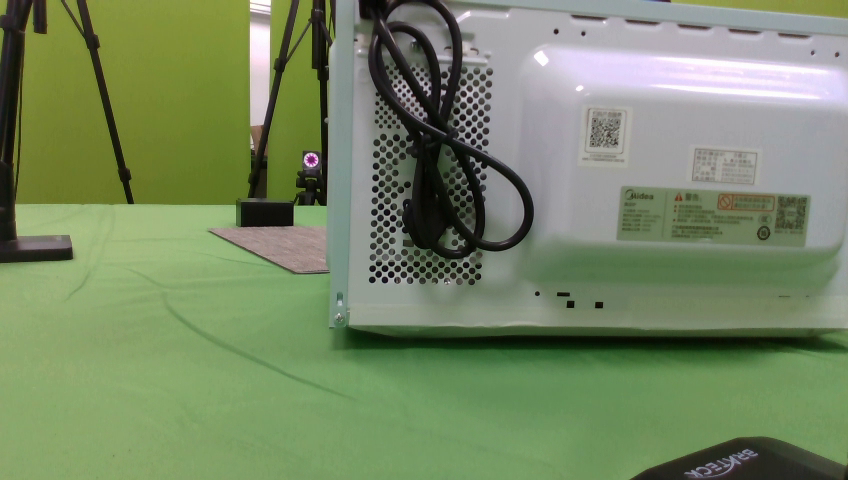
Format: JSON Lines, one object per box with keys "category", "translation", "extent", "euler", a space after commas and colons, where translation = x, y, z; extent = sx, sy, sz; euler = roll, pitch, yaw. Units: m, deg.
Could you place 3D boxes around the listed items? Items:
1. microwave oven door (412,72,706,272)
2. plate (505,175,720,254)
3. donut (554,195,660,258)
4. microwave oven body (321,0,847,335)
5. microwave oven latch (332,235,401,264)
{"category": "microwave oven door", "translation": [0.162, -0.093, 0.785], "extent": [0.355, 0.243, 0.039], "euler": [4, 8, 15]}
{"category": "plate", "translation": [0.184, -0.027, 0.615], "extent": [0.209, 0.038, 0.209], "euler": [5, 17, -1]}
{"category": "donut", "translation": [0.172, -0.014, 0.572], "extent": [0.099, 0.048, 0.099], "euler": [-14, 7, 2]}
{"category": "microwave oven body", "translation": [0.133, -0.062, 0.568], "extent": [0.443, 0.260, 0.325], "euler": [2, 6, -8]}
{"category": "microwave oven latch", "translation": [-0.066, 0.010, 0.701], "extent": [0.079, 0.029, 0.030], "euler": [2, 7, -8]}
